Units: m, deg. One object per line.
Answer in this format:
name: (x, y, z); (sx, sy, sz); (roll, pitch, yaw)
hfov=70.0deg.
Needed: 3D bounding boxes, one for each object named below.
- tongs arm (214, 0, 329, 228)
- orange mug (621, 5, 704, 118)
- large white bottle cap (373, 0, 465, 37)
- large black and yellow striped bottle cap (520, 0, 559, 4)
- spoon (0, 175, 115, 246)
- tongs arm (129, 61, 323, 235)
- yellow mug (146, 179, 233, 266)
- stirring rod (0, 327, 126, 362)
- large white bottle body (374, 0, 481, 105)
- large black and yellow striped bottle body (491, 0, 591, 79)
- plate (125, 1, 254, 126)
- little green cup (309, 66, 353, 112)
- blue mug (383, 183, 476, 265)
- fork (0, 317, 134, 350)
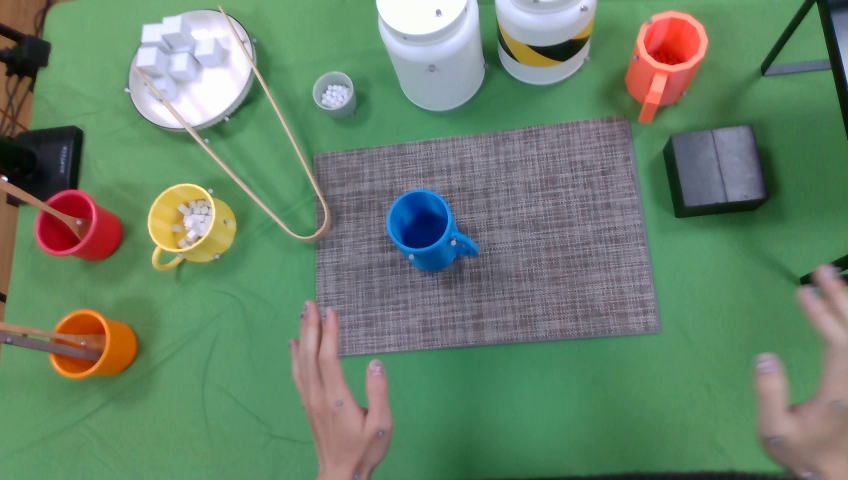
tongs arm: (-0.225, -0.191, 0.889); (0.028, 0.028, 0.386); (-27, 80, -7)
orange mug: (0.308, -0.231, 0.804); (0.083, 0.101, 0.125); (17, 75, 13)
large white bottle cap: (-0.007, -0.302, 0.735); (0.114, 0.018, 0.114); (-2, 76, 9)
large black and yellow striped bottle cap: (0.141, -0.337, 0.722); (0.115, 0.019, 0.114); (-2, 76, 7)
spoon: (-0.538, -0.051, 0.863); (0.195, 0.021, 0.041); (36, 79, -29)
tongs arm: (-0.293, -0.141, 0.883); (0.051, 0.026, 0.383); (-42, 81, -6)
yellow mug: (-0.343, -0.018, 0.866); (0.099, 0.064, 0.130); (33, 84, 14)
stirring rod: (-0.492, 0.138, 0.809); (0.006, 0.178, 0.014); (-29, 49, 46)
large white bottle body: (0.007, -0.281, 0.816); (0.130, 0.186, 0.130); (-2, 75, 9)
large black and yellow striped bottle body: (0.155, -0.314, 0.803); (0.130, 0.185, 0.130); (-2, 75, 9)
plate: (-0.361, -0.271, 0.946); (0.207, 0.039, 0.206); (-2, 76, 8)
little green cup: (-0.136, -0.221, 0.899); (0.061, 0.039, 0.061); (-2, 77, 8)
blue mug: (0.013, -0.013, 0.787); (0.116, 0.106, 0.082); (20, 79, 13)
fork: (-0.501, 0.121, 0.812); (0.209, 0.018, 0.028); (18, 74, -32)
